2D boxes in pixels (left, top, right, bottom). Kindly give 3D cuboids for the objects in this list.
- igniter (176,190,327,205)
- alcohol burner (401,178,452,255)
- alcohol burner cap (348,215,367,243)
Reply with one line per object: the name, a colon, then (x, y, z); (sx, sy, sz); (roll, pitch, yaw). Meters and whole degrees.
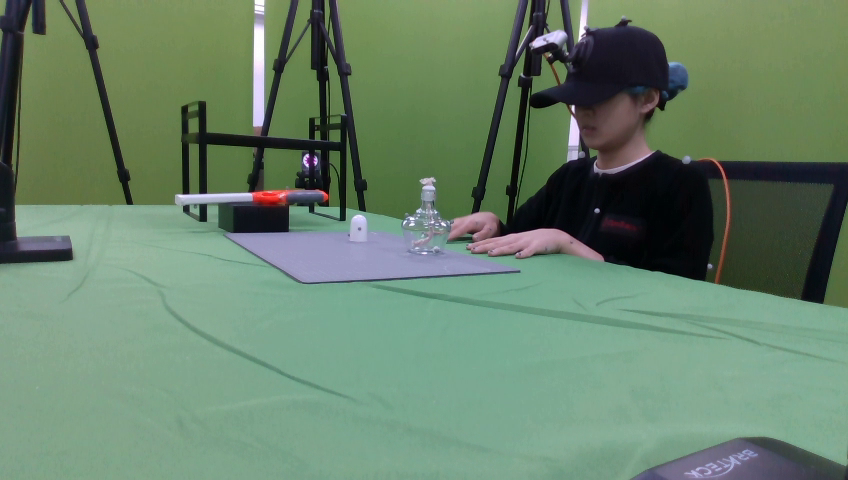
igniter: (-0.316, -0.080, 1.137); (0.278, 0.025, 0.057); (-4, 13, -33)
alcohol burner: (0.005, -0.036, 0.923); (0.078, 0.119, 0.078); (5, 7, 0)
alcohol burner cap: (-0.112, -0.019, 1.025); (0.034, 0.048, 0.034); (1, 5, 0)
